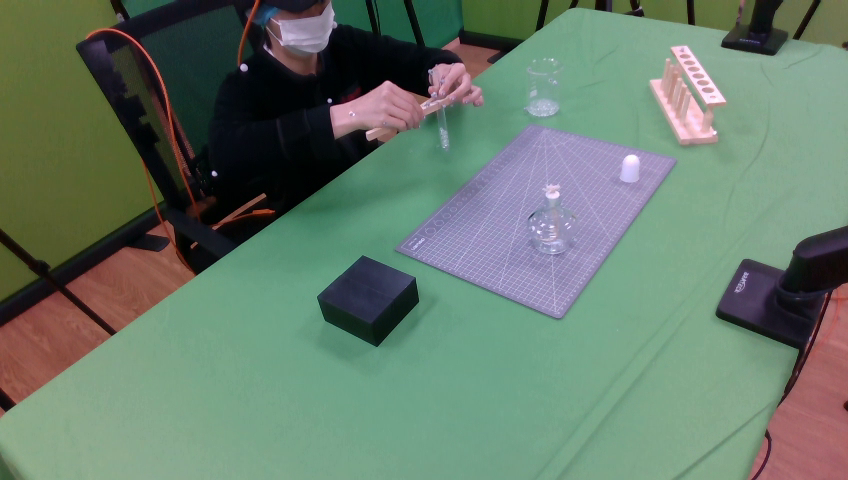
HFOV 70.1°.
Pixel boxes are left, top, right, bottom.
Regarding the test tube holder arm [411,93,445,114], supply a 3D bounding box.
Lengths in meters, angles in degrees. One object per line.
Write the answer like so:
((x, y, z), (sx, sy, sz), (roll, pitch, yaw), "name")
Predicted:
((0.007, -0.225, 1.021), (0.010, 0.015, 0.088), (16, 43, 32), "test tube holder arm")

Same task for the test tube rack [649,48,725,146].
((0.508, -0.285, 1.186), (0.067, 0.085, 0.241), (-4, 40, 6), "test tube rack")

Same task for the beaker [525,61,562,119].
((0.248, -0.309, 1.245), (0.084, 0.101, 0.073), (-36, 47, -30), "beaker")

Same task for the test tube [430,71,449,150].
((0.027, -0.220, 1.042), (0.017, 0.151, 0.017), (-6, 41, 6), "test tube")

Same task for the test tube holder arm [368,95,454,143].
((-0.019, -0.201, 0.994), (0.179, 0.015, 0.013), (-33, 40, -29), "test tube holder arm")

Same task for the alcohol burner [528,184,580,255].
((0.196, -0.036, 0.911), (0.078, 0.119, 0.077), (-6, 41, 5), "alcohol burner")

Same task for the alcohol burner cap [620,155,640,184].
((0.358, -0.124, 1.047), (0.034, 0.048, 0.033), (-4, 40, 4), "alcohol burner cap")
